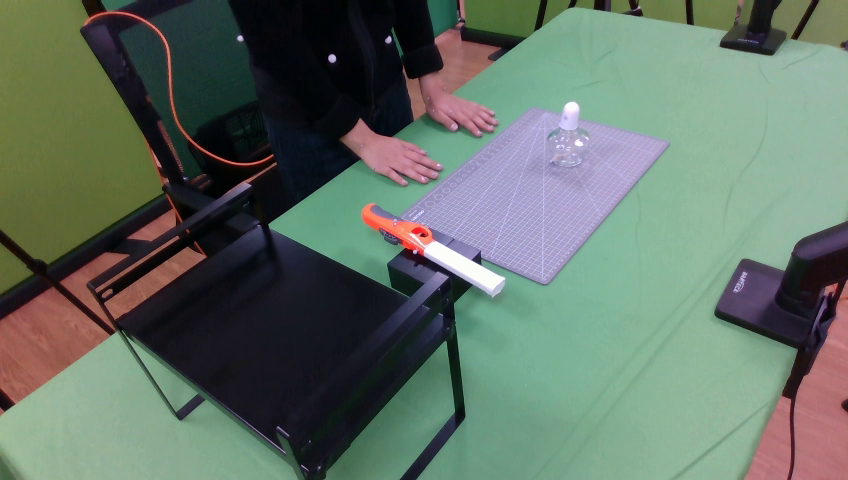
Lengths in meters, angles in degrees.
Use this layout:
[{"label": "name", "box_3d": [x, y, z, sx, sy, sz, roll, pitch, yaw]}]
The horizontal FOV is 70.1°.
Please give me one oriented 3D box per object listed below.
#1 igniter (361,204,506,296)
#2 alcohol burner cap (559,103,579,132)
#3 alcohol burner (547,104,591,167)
[{"label": "igniter", "box_3d": [0.003, 0.008, 0.889, 0.274, 0.025, 0.057, 29, 49, 33]}, {"label": "alcohol burner cap", "box_3d": [0.256, -0.219, 1.063, 0.034, 0.048, 0.033, 0, 43, 0]}, {"label": "alcohol burner", "box_3d": [0.261, -0.192, 1.087, 0.078, 0.119, 0.077, -5, 42, 5]}]
